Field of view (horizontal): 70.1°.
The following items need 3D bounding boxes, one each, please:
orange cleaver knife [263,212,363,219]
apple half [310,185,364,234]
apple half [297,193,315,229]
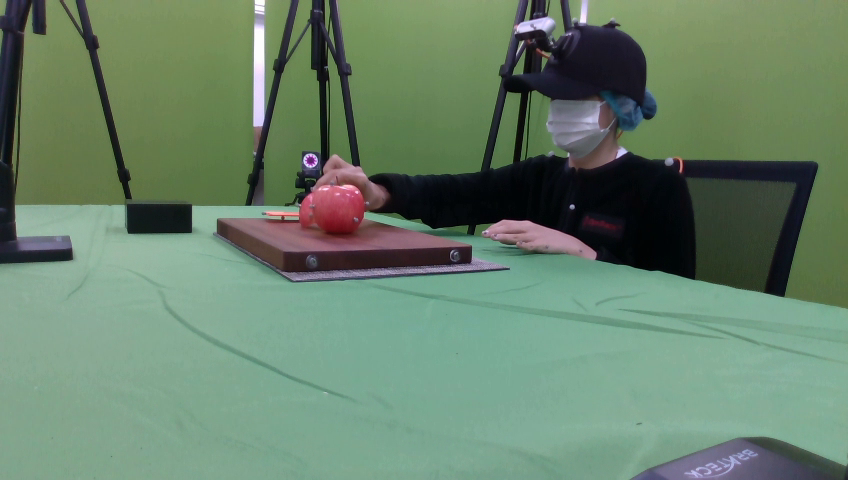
[{"bbox_3d":[-0.192,-0.045,1.097,0.212,0.012,0.077,0,4,-39],"label":"orange cleaver knife"},{"bbox_3d":[-0.124,-0.045,0.906,0.081,0.074,0.053,2,10,-42],"label":"apple half"},{"bbox_3d":[-0.182,-0.056,0.972,0.081,0.033,0.081,-32,26,18],"label":"apple half"}]
